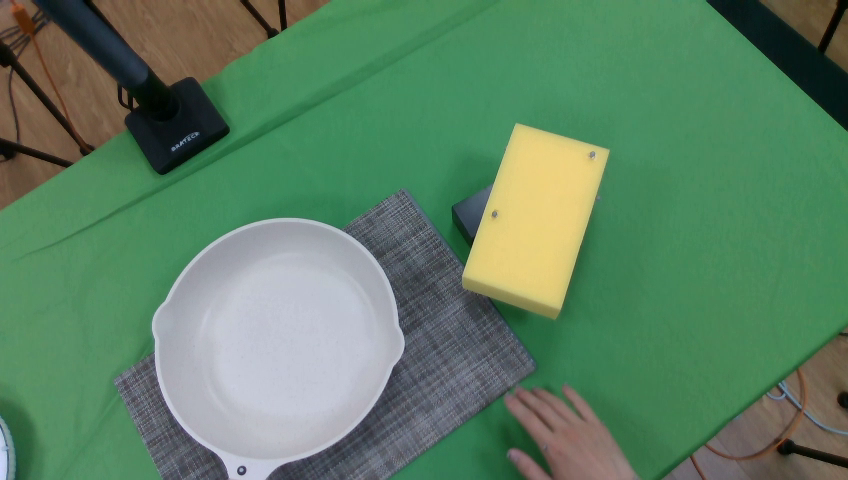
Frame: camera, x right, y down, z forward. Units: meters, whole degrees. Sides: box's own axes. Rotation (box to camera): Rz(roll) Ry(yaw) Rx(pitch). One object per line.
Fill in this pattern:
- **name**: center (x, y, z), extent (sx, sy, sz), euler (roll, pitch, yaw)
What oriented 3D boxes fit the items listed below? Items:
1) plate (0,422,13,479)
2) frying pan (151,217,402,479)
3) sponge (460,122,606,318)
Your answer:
- **plate**: center (-0.600, 0.297, 0.740), extent (0.207, 0.039, 0.206), euler (-1, 72, 3)
- **frying pan**: center (-0.190, 0.210, 0.700), extent (0.306, 0.103, 0.484), euler (6, 64, 7)
- **sponge**: center (0.131, -0.025, 0.726), extent (0.118, 0.061, 0.206), euler (17, 74, 10)
